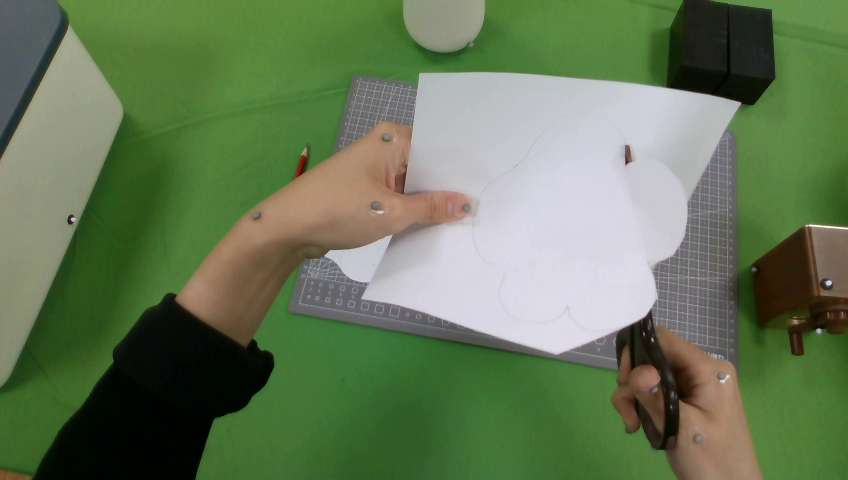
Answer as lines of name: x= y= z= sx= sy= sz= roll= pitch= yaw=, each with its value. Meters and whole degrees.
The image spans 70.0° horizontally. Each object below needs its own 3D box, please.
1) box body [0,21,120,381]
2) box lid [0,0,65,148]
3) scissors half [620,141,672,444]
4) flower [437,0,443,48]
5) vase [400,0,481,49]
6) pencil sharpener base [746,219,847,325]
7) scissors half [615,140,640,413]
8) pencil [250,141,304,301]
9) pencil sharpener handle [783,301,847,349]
box body: x=-0.490 y=-0.054 z=0.580 sx=0.254 sy=0.161 sz=0.361 roll=9 pitch=68 yaw=4
box lid: x=-0.491 y=-0.085 z=0.511 sx=0.263 sy=0.015 sz=0.369 roll=10 pitch=68 yaw=3
scissors half: x=0.123 y=0.031 z=0.343 sx=0.013 sy=0.040 sz=0.175 roll=-8 pitch=93 yaw=-1
flower: x=0.013 y=-0.351 z=0.591 sx=0.044 sy=0.365 sz=0.038 roll=3 pitch=50 yaw=5
vase: x=0.018 y=-0.306 z=0.663 sx=0.098 sy=0.201 sz=0.097 roll=0 pitch=67 yaw=1
pencil sharpener base: x=0.363 y=0.036 z=0.576 sx=0.061 sy=0.108 sz=0.076 roll=5 pitch=68 yaw=2
scissors half: x=0.123 y=0.027 z=0.363 sx=0.013 sy=0.039 sz=0.176 roll=-7 pitch=113 yaw=4
pencil: x=-0.155 y=-0.026 z=0.654 sx=0.012 sy=0.012 sz=0.193 roll=10 pitch=67 yaw=4
pencil sharpener handle: x=0.354 y=0.078 z=0.546 sx=0.036 sy=0.068 sz=0.030 roll=11 pitch=68 yaw=-12
